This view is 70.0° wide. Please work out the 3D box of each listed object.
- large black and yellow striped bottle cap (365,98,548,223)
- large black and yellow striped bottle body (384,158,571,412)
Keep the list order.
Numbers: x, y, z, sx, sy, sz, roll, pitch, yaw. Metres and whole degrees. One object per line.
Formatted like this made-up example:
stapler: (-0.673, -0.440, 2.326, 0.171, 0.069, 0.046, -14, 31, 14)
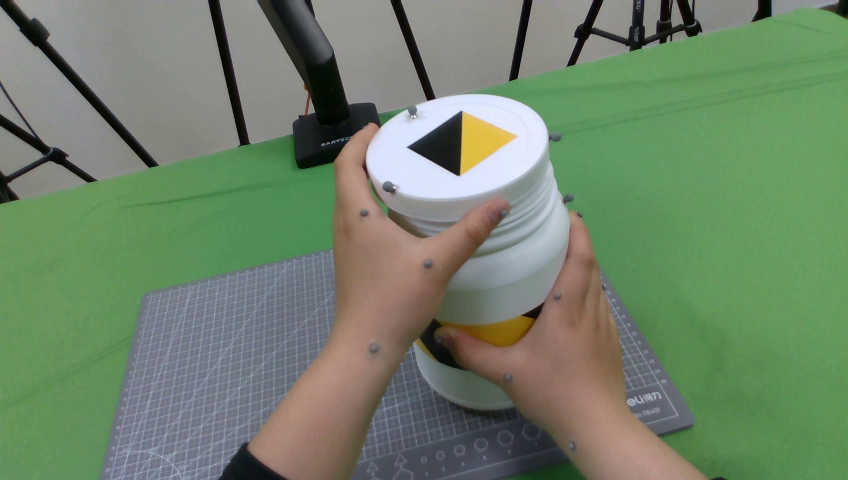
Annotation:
large black and yellow striped bottle cap: (0.020, -0.054, 0.382, 0.115, 0.019, 0.114, -5, 43, 5)
large black and yellow striped bottle body: (0.044, 0.025, 0.453, 0.130, 0.186, 0.129, -7, 40, 6)
